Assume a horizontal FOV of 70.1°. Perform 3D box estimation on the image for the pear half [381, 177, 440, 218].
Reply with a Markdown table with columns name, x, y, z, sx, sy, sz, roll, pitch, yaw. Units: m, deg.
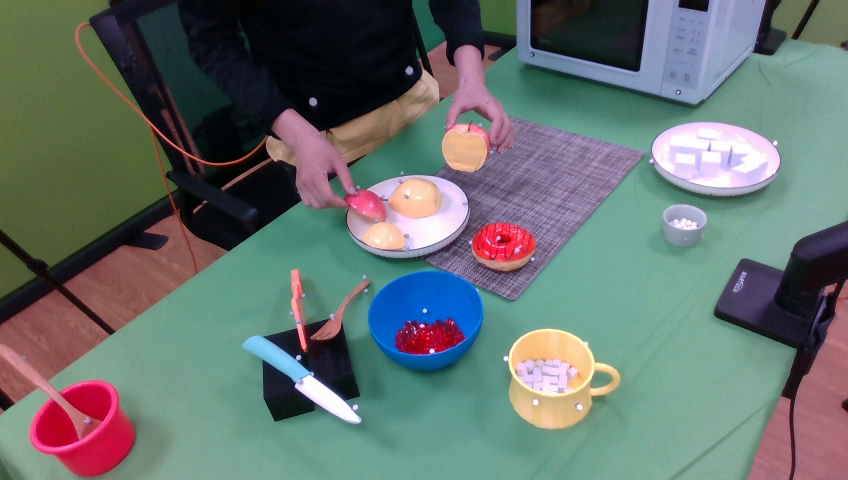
| name | x | y | z | sx | sy | sz | roll | pitch | yaw |
| --- | --- | --- | --- | --- | --- | --- | --- | --- | --- |
| pear half | -0.030 | -0.079 | 1.033 | 0.109 | 0.056 | 0.076 | 0 | 36 | 15 |

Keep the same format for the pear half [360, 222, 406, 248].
| name | x | y | z | sx | sy | sz | roll | pitch | yaw |
| --- | --- | --- | --- | --- | --- | --- | --- | --- | --- |
| pear half | -0.064 | -0.013 | 0.960 | 0.071 | 0.031 | 0.087 | 4 | 22 | -23 |

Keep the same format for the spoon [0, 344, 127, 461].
| name | x | y | z | sx | sy | sz | roll | pitch | yaw |
| --- | --- | --- | --- | --- | --- | --- | --- | --- | --- |
| spoon | -0.433 | 0.191 | 0.721 | 0.194 | 0.021 | 0.042 | 47 | 53 | -6 |

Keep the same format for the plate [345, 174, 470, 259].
| name | x | y | z | sx | sy | sz | roll | pitch | yaw |
| --- | --- | --- | --- | --- | --- | --- | --- | --- | --- |
| plate | -0.026 | -0.037 | 1.004 | 0.209 | 0.038 | 0.208 | -4 | 40 | 4 |

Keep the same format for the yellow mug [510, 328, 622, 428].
| name | x | y | z | sx | sy | sz | roll | pitch | yaw |
| --- | --- | --- | --- | --- | --- | --- | --- | --- | --- |
| yellow mug | 0.168 | 0.164 | 0.722 | 0.130 | 0.064 | 0.099 | 0 | 40 | 8 |

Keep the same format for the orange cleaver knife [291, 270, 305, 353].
| name | x | y | z | sx | sy | sz | roll | pitch | yaw |
| --- | --- | --- | --- | --- | --- | --- | --- | --- | --- |
| orange cleaver knife | -0.175 | 0.094 | 0.844 | 0.012 | 0.077 | 0.210 | -11 | 14 | -10 |

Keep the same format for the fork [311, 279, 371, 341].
| name | x | y | z | sx | sy | sz | roll | pitch | yaw |
| --- | --- | --- | --- | --- | --- | --- | --- | --- | --- |
| fork | -0.108 | 0.092 | 0.832 | 0.028 | 0.019 | 0.207 | -6 | 19 | 15 |

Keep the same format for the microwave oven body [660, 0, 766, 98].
| name | x | y | z | sx | sy | sz | roll | pitch | yaw |
| --- | --- | --- | --- | --- | --- | --- | --- | --- | --- |
| microwave oven body | 0.472 | -0.513 | 1.317 | 0.438 | 0.261 | 0.327 | 26 | 51 | 34 |

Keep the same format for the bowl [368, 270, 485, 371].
| name | x | y | z | sx | sy | sz | roll | pitch | yaw |
| --- | --- | --- | --- | --- | --- | --- | --- | --- | --- |
| bowl | 0.007 | 0.118 | 0.791 | 0.151 | 0.077 | 0.150 | -5 | 40 | 4 |

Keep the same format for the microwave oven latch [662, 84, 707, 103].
| name | x | y | z | sx | sy | sz | roll | pitch | yaw |
| --- | --- | --- | --- | --- | --- | --- | --- | --- | --- |
| microwave oven latch | 0.517 | -0.296 | 1.204 | 0.078 | 0.029 | 0.030 | 26 | 51 | 34 |

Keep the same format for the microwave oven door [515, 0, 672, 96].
| name | x | y | z | sx | sy | sz | roll | pitch | yaw |
| --- | --- | --- | --- | --- | --- | --- | --- | --- | --- |
| microwave oven door | 0.343 | -0.455 | 1.259 | 0.353 | 0.245 | 0.039 | 26 | 51 | 33 |

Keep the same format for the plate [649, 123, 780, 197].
| name | x | y | z | sx | sy | sz | roll | pitch | yaw |
| --- | --- | --- | --- | --- | --- | --- | --- | --- | --- |
| plate | 0.497 | -0.135 | 1.046 | 0.207 | 0.039 | 0.206 | -4 | 40 | 4 |

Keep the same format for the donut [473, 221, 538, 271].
| name | x | y | z | sx | sy | sz | roll | pitch | yaw |
| --- | --- | --- | --- | --- | --- | --- | --- | --- | --- |
| donut | 0.123 | 0.008 | 0.923 | 0.099 | 0.048 | 0.098 | -3 | 38 | 3 |

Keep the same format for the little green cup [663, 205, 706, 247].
| name | x | y | z | sx | sy | sz | roll | pitch | yaw |
| --- | --- | --- | --- | --- | --- | --- | --- | --- | --- |
| little green cup | 0.396 | -0.021 | 0.926 | 0.061 | 0.039 | 0.061 | -4 | 40 | 4 |

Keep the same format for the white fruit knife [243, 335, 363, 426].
| name | x | y | z | sx | sy | sz | roll | pitch | yaw |
| --- | --- | --- | --- | --- | --- | --- | --- | --- | --- |
| white fruit knife | -0.148 | 0.166 | 0.730 | 0.206 | 0.016 | 0.027 | 26 | 80 | 31 |

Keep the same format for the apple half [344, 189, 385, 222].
| name | x | y | z | sx | sy | sz | roll | pitch | yaw |
| --- | --- | --- | --- | --- | --- | --- | --- | --- | --- |
| apple half | -0.091 | -0.063 | 1.007 | 0.081 | 0.033 | 0.081 | 28 | 17 | -9 |

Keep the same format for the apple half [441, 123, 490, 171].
| name | x | y | z | sx | sy | sz | roll | pitch | yaw |
| --- | --- | --- | --- | --- | --- | --- | --- | --- | --- |
| apple half | 0.073 | -0.158 | 1.003 | 0.080 | 0.075 | 0.053 | 9 | 33 | 18 |
